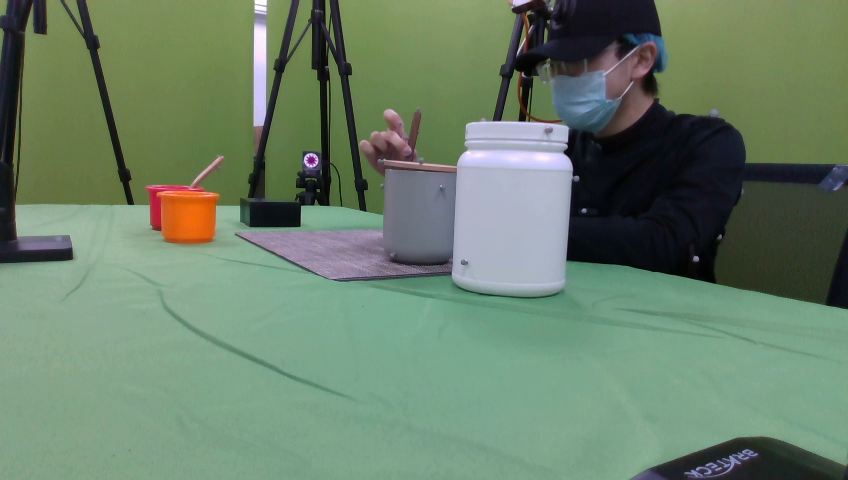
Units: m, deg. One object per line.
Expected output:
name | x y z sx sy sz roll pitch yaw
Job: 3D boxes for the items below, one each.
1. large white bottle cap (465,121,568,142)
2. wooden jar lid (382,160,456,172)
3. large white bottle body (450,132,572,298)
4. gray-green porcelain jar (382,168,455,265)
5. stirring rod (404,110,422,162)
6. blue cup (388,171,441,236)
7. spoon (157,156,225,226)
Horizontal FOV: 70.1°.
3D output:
large white bottle cap | 0.103 -0.120 0.677 0.115 0.018 0.115 2 7 0
wooden jar lid | -0.003 -0.096 0.826 0.108 0.020 0.108 5 10 0
large white bottle body | 0.099 -0.036 0.688 0.131 0.184 0.130 2 7 0
gray-green porcelain jar | -0.005 -0.034 0.834 0.106 0.126 0.106 3 7 0
stirring rod | -0.026 -0.128 0.994 0.014 0.176 0.006 11 -1 26
blue cup | -0.018 -0.059 0.984 0.093 0.100 0.092 4 5 0
spoon | -0.425 -0.094 1.117 0.041 0.022 0.194 3 50 31
